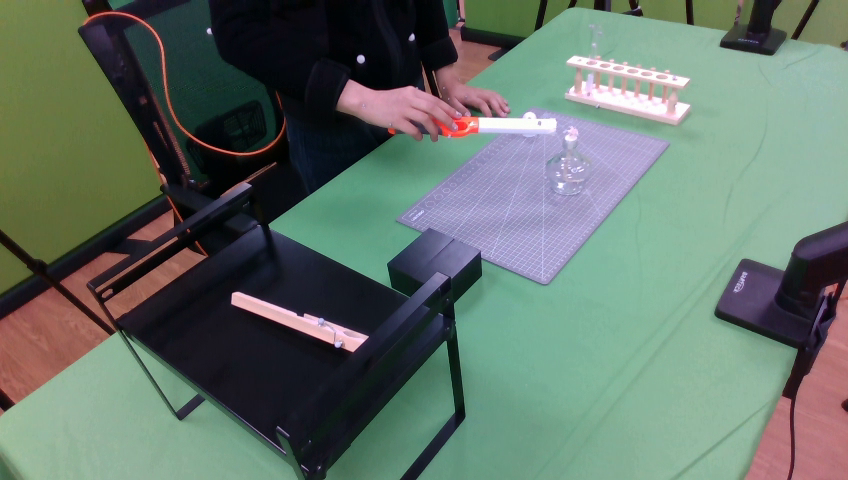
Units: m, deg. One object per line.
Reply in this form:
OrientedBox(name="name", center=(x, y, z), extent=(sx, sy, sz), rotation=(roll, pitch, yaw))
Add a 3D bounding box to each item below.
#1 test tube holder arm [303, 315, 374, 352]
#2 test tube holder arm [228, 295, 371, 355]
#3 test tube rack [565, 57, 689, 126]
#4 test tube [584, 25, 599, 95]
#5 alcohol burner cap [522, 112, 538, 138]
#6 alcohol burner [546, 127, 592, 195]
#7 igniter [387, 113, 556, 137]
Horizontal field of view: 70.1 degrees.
OrientedBox(name="test tube holder arm", center=(-0.089, 0.094, 0.604), extent=(0.087, 0.015, 0.010), rotation=(14, 6, 25))
OrientedBox(name="test tube holder arm", center=(-0.132, 0.084, 0.618), extent=(0.177, 0.015, 0.013), rotation=(14, 6, 24))
OrientedBox(name="test tube rack", center=(0.412, -0.311, 1.230), extent=(0.240, 0.085, 0.067), rotation=(23, 49, 32))
OrientedBox(name="test tube", center=(0.339, -0.361, 1.224), extent=(0.017, 0.151, 0.017), rotation=(-4, 45, 4))
OrientedBox(name="alcohol burner cap", center=(0.210, -0.230, 1.195), extent=(0.034, 0.048, 0.033), rotation=(-5, 41, 5))
OrientedBox(name="alcohol burner", center=(0.247, -0.137, 1.024), extent=(0.078, 0.119, 0.077), rotation=(-4, 38, 4))
OrientedBox(name="igniter", center=(0.078, -0.189, 0.996), extent=(0.277, 0.025, 0.057), rotation=(1, 44, 0))
